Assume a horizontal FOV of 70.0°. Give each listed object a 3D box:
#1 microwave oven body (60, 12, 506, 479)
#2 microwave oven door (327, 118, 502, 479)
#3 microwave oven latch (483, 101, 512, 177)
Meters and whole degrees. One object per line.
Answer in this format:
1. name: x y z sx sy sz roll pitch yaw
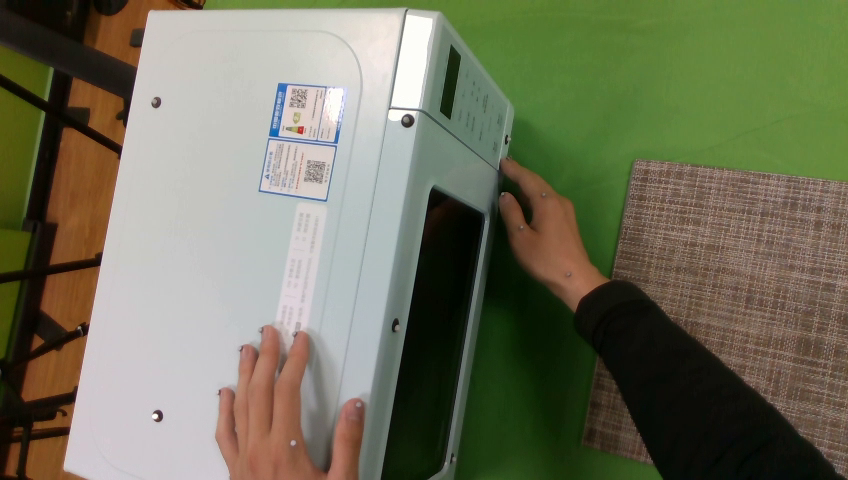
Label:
1. microwave oven body: -0.126 0.032 0.620 0.324 0.262 0.441 9 88 22
2. microwave oven door: -0.002 0.093 0.559 0.039 0.245 0.355 9 87 23
3. microwave oven latch: 0.076 -0.110 0.660 0.030 0.030 0.079 10 89 22
